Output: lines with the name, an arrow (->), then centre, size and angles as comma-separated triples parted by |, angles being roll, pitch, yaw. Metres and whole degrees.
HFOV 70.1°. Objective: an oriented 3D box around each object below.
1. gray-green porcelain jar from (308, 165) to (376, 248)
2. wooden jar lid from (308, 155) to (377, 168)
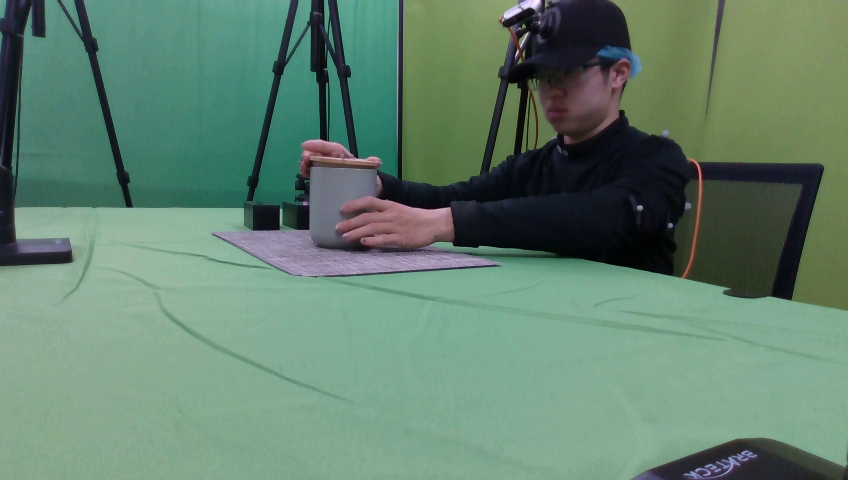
gray-green porcelain jar -> -0.131, -0.054, 0.966 | 0.106, 0.126, 0.106 | 2, 7, 0
wooden jar lid -> -0.129, -0.121, 0.956 | 0.108, 0.020, 0.108 | 6, 7, 0
